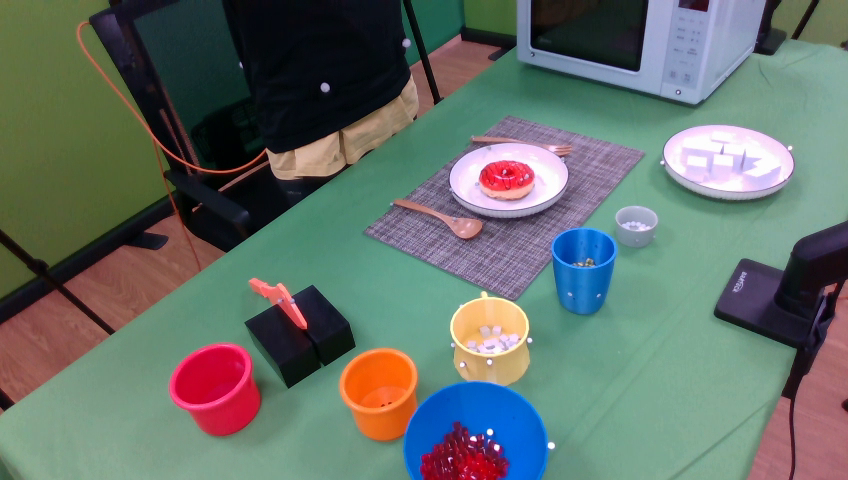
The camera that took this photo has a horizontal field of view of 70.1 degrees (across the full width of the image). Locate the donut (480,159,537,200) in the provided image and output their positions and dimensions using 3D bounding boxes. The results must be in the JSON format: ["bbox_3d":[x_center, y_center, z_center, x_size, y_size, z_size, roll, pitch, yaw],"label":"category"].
[{"bbox_3d":[0.145,-0.106,1.042,0.099,0.048,0.098,-4,38,4],"label":"donut"}]

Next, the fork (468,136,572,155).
[{"bbox_3d":[0.181,-0.184,1.160,0.206,0.019,0.028,13,59,21],"label":"fork"}]

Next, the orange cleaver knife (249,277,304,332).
[{"bbox_3d":[-0.210,0.089,0.855,0.012,0.077,0.210,-27,14,-25],"label":"orange cleaver knife"}]

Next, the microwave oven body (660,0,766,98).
[{"bbox_3d":[0.473,-0.513,1.317,0.438,0.261,0.327,26,51,34],"label":"microwave oven body"}]

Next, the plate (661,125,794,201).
[{"bbox_3d":[0.513,-0.128,1.035,0.207,0.039,0.206,-4,40,4],"label":"plate"}]

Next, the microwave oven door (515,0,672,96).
[{"bbox_3d":[0.344,-0.455,1.259,0.353,0.245,0.039,26,51,33],"label":"microwave oven door"}]

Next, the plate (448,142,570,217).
[{"bbox_3d":[0.148,-0.101,1.053,0.209,0.038,0.208,-4,40,4],"label":"plate"}]

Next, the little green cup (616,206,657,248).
[{"bbox_3d":[0.327,-0.019,0.935,0.061,0.039,0.061,-4,40,4],"label":"little green cup"}]

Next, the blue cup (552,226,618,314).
[{"bbox_3d":[0.218,0.047,0.825,0.092,0.100,0.092,-6,40,5],"label":"blue cup"}]

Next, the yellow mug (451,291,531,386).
[{"bbox_3d":[0.085,0.120,0.786,0.100,0.064,0.130,-7,39,1],"label":"yellow mug"}]

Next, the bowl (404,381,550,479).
[{"bbox_3d":[0.058,0.235,0.645,0.151,0.077,0.150,-4,39,4],"label":"bowl"}]

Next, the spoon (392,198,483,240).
[{"bbox_3d":[0.018,-0.042,1.016,0.192,0.022,0.041,24,73,31],"label":"spoon"}]

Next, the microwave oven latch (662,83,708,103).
[{"bbox_3d":[0.518,-0.296,1.204,0.078,0.029,0.030,28,52,35],"label":"microwave oven latch"}]
